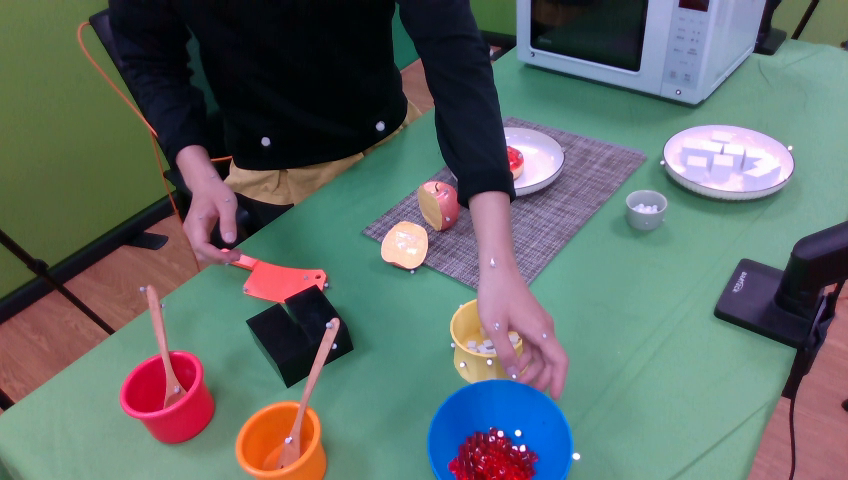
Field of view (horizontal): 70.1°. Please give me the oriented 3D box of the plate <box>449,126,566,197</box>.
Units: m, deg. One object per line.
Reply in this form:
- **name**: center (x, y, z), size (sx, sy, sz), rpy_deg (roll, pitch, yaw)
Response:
- **plate**: center (0.150, -0.138, 1.096), size (0.209, 0.038, 0.208), rpy_deg (-4, 40, 4)

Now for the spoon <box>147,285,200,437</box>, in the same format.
- **spoon**: center (-0.318, 0.148, 0.754), size (0.042, 0.021, 0.193), rpy_deg (-15, 86, -7)

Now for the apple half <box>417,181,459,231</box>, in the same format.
- **apple half**: center (0.030, -0.059, 0.995), size (0.053, 0.075, 0.080), rpy_deg (-23, 39, -22)

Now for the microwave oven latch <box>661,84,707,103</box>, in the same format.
- **microwave oven latch**: center (0.516, -0.296, 1.204), size (0.078, 0.029, 0.030), rpy_deg (25, 51, 33)

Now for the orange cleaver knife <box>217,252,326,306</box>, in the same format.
- **orange cleaver knife**: center (-0.248, 0.060, 0.946), size (0.210, 0.012, 0.077), rpy_deg (11, 47, 21)

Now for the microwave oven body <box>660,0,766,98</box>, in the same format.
- **microwave oven body**: center (0.473, -0.513, 1.317), size (0.438, 0.261, 0.327), rpy_deg (26, 51, 34)

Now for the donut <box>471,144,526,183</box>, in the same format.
- **donut**: center (0.133, -0.138, 1.082), size (0.099, 0.048, 0.098), rpy_deg (-5, 38, 5)

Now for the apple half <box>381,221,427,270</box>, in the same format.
- **apple half**: center (-0.025, 0.012, 0.946), size (0.081, 0.033, 0.081), rpy_deg (-5, 73, 16)

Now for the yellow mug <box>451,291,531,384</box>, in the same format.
- **yellow mug**: center (0.085, 0.120, 0.786), size (0.100, 0.064, 0.130), rpy_deg (-7, 40, 1)

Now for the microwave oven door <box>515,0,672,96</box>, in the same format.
- **microwave oven door**: center (0.343, -0.455, 1.259), size (0.353, 0.245, 0.039), rpy_deg (26, 51, 33)

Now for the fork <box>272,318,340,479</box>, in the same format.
- **fork**: center (-0.132, 0.186, 0.676), size (0.028, 0.019, 0.207), rpy_deg (17, 90, 28)

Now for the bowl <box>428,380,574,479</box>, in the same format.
- **bowl**: center (0.083, 0.233, 0.644), size (0.151, 0.077, 0.150), rpy_deg (-4, 39, 4)

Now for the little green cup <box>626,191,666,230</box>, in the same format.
- **little green cup**: center (0.352, -0.046, 0.963), size (0.061, 0.039, 0.061), rpy_deg (-4, 40, 4)

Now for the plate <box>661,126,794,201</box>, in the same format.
- **plate**: center (0.513, -0.127, 1.035), size (0.207, 0.039, 0.206), rpy_deg (-4, 40, 4)
